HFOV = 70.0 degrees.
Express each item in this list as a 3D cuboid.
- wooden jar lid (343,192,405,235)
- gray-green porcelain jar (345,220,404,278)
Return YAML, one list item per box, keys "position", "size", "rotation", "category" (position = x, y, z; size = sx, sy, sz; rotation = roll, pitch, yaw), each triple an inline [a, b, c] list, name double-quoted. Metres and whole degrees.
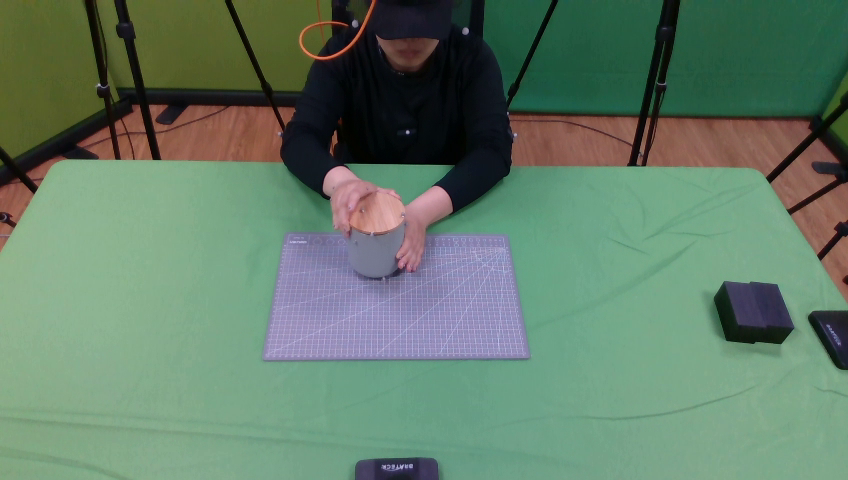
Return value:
- position: [-0.088, -0.044, 1.072]
  size: [0.108, 0.021, 0.107]
  rotation: [3, 45, -3]
  category: "wooden jar lid"
- position: [-0.091, -0.001, 1.117]
  size: [0.106, 0.127, 0.105]
  rotation: [3, 46, -2]
  category: "gray-green porcelain jar"
